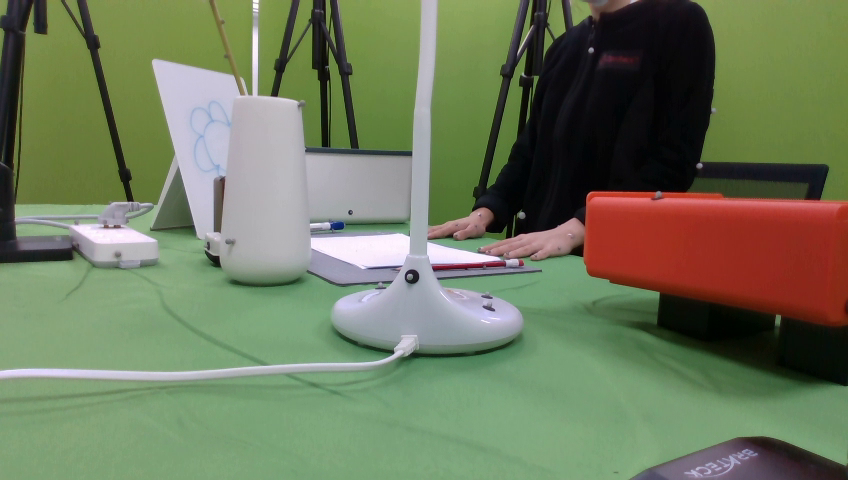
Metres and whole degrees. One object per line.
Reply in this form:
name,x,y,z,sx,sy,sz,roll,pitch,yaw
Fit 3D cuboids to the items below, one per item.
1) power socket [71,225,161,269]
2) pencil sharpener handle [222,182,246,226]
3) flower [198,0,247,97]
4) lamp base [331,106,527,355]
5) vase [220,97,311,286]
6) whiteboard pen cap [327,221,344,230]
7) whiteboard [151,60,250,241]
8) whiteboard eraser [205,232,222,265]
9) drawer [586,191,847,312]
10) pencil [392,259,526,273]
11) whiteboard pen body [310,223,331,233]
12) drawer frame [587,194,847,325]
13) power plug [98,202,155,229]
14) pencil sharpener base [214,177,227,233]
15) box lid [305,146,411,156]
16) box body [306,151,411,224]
power socket,-0.408,0.004,0.793,0.072,0.032,0.225,-2,8,-38
pencil sharpener handle,-0.289,-0.055,0.912,0.036,0.067,0.030,-3,9,-29
flower,-0.187,-0.133,0.648,0.038,0.362,0.044,-1,22,43
lamp base,0.006,-0.012,0.478,0.161,0.180,0.179,2,10,2
vase,-0.172,-0.052,0.662,0.098,0.200,0.098,3,9,0
whiteboard pen cap,-0.166,-0.027,1.124,0.018,0.018,0.033,9,10,41
whiteboard,-0.408,-0.139,1.093,0.143,0.305,0.218,-15,-1,26
whiteboard eraser,-0.219,0.010,0.778,0.113,0.042,0.055,-3,7,-33
drawer,0.281,0.001,0.513,0.195,0.073,0.210,-1,8,-29
pencil,0.049,0.035,0.782,0.195,0.012,0.012,-2,9,-25
whiteboard pen body,-0.207,-0.021,1.081,0.017,0.017,0.141,9,10,41
drawer frame,0.286,0.004,0.508,0.203,0.082,0.212,-1,6,-29
power plug,-0.416,-0.026,0.848,0.073,0.052,0.035,0,8,-28
pencil sharpener base,-0.265,-0.036,0.870,0.061,0.107,0.076,-2,8,-29
box lid,-0.229,-0.200,1.361,0.373,0.015,0.262,-3,9,-32
box body,-0.230,-0.126,1.371,0.366,0.160,0.253,-2,8,-33
